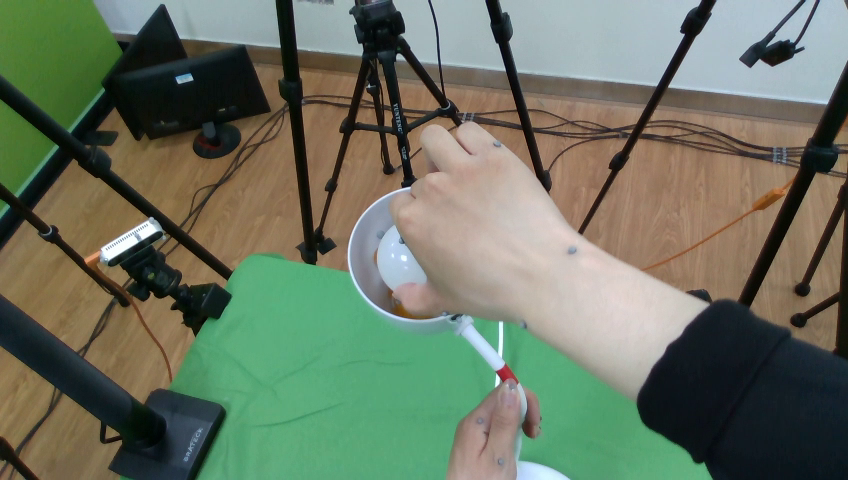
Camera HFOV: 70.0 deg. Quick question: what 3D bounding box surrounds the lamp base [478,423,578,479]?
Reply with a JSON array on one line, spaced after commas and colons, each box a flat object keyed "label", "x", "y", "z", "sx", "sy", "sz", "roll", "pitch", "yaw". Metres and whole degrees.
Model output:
[{"label": "lamp base", "x": 0.111, "y": 0.280, "z": 0.647, "sx": 0.161, "sy": 0.182, "sz": 0.177, "roll": -23, "pitch": 53, "yaw": -10}]

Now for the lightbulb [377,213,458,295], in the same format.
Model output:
[{"label": "lightbulb", "x": -0.003, "y": 0.018, "z": 0.468, "sx": 0.059, "sy": 0.108, "sz": 0.059, "roll": -1, "pitch": 72, "yaw": 3}]

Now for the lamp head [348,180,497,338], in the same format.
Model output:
[{"label": "lamp head", "x": 0.004, "y": 0.029, "z": 0.497, "sx": 0.112, "sy": 0.124, "sz": 0.111, "roll": -3, "pitch": 62, "yaw": 6}]
